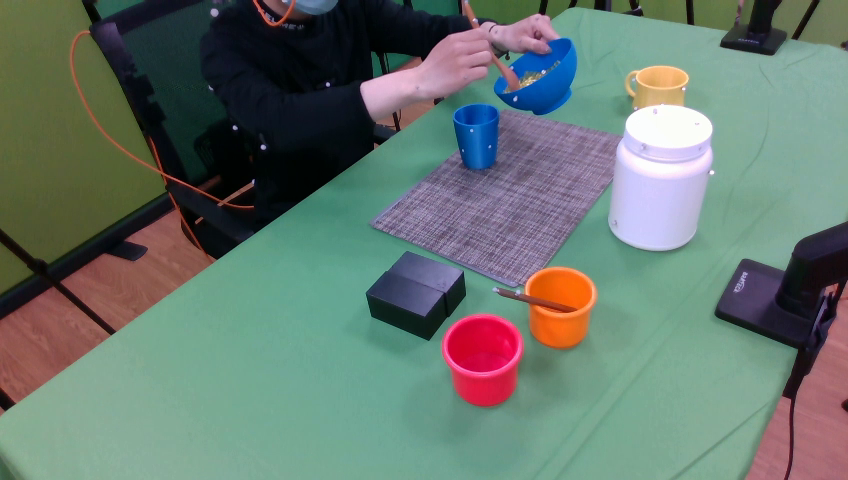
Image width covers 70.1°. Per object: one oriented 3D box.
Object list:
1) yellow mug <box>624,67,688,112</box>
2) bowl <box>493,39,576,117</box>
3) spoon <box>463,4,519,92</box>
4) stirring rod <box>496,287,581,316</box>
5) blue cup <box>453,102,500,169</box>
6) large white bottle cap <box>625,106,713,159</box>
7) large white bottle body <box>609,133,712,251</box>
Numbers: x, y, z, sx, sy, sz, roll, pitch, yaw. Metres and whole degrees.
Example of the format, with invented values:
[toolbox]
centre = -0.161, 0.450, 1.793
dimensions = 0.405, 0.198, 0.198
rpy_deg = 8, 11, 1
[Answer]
[yellow mug]
centre = 0.464, -0.306, 1.230
dimensions = 0.100, 0.064, 0.129
rpy_deg = -34, 46, -27
[bowl]
centre = 0.203, -0.268, 1.042
dimensions = 0.151, 0.077, 0.150
rpy_deg = -29, 29, 18
[spoon]
centre = 0.113, -0.307, 1.001
dimensions = 0.021, 0.195, 0.041
rpy_deg = -14, 46, 36
[stirring rod]
centre = 0.150, 0.080, 0.773
dimensions = 0.178, 0.006, 0.014
rpy_deg = 17, 21, -42
[blue cup]
centre = 0.099, -0.188, 1.115
dimensions = 0.092, 0.100, 0.092
rpy_deg = -4, 39, 4
[large white bottle cap]
centre = 0.342, -0.153, 0.848
dimensions = 0.115, 0.018, 0.114
rpy_deg = -4, 41, 4
[large white bottle body]
centre = 0.351, -0.090, 0.904
dimensions = 0.130, 0.185, 0.130
rpy_deg = -5, 41, 4
